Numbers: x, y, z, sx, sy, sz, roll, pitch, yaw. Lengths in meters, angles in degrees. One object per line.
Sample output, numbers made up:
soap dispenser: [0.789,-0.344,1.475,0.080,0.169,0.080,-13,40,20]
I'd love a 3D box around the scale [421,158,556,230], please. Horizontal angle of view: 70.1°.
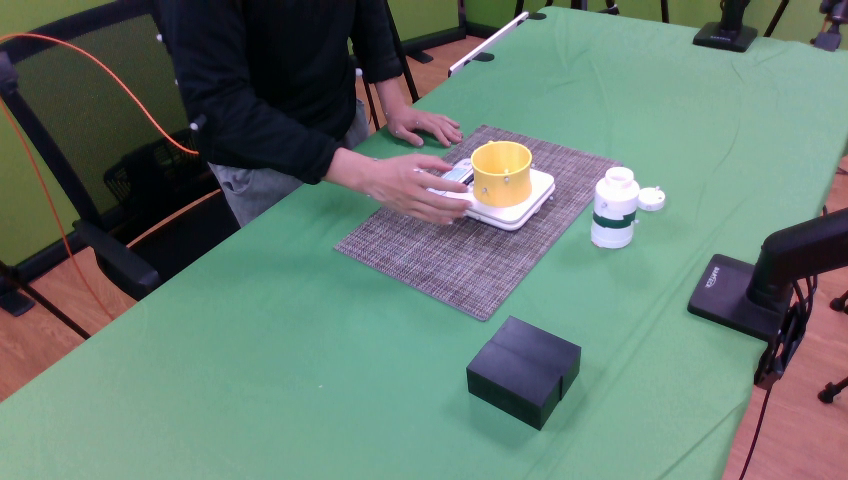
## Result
scale: [0.110,-0.089,1.042,0.199,0.032,0.149,23,48,31]

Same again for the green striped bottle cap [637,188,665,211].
green striped bottle cap: [0.374,-0.066,0.998,0.044,0.020,0.044,-7,39,6]

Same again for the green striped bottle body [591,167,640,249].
green striped bottle body: [0.288,-0.050,0.910,0.063,0.120,0.063,-4,41,4]

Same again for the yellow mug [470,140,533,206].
yellow mug: [0.125,-0.121,1.004,0.100,0.064,0.130,-13,41,-5]
